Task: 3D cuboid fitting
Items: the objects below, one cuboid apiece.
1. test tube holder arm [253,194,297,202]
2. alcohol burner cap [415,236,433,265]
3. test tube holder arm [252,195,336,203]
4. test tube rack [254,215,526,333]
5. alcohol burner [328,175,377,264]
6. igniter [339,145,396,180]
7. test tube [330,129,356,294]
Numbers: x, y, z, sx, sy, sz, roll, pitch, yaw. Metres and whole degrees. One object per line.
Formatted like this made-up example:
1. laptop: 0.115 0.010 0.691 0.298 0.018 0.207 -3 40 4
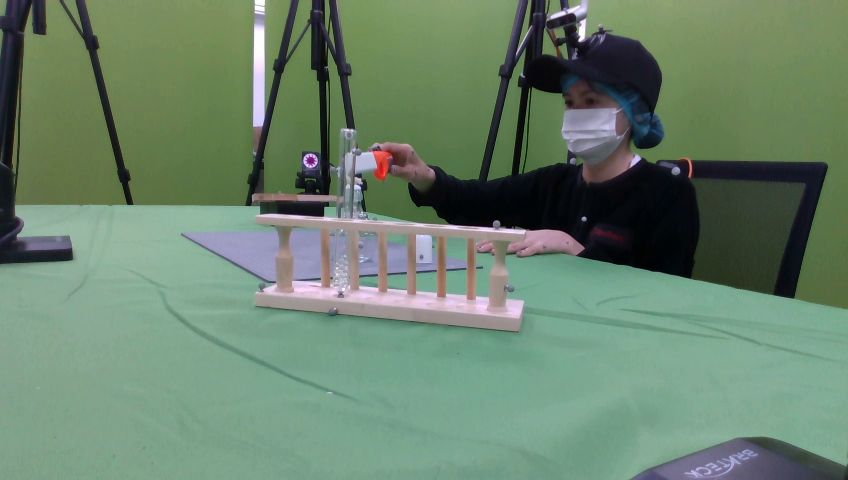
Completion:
1. test tube holder arm: -0.293 -0.083 1.193 0.088 0.015 0.010 -2 -1 -37
2. alcohol burner cap: -0.004 0.011 0.835 0.034 0.048 0.034 2 7 0
3. test tube holder arm: -0.260 -0.084 1.225 0.179 0.015 0.013 -2 -1 -37
4. test tube rack: -0.030 0.025 0.557 0.242 0.085 0.067 4 7 12
5. alcohol burner: -0.098 -0.028 0.819 0.078 0.119 0.078 1 8 0
6. igniter: -0.083 -0.123 0.964 0.025 0.057 0.277 -14 5 11
7. test tube: -0.074 -0.025 0.548 0.017 0.150 0.017 4 6 0
